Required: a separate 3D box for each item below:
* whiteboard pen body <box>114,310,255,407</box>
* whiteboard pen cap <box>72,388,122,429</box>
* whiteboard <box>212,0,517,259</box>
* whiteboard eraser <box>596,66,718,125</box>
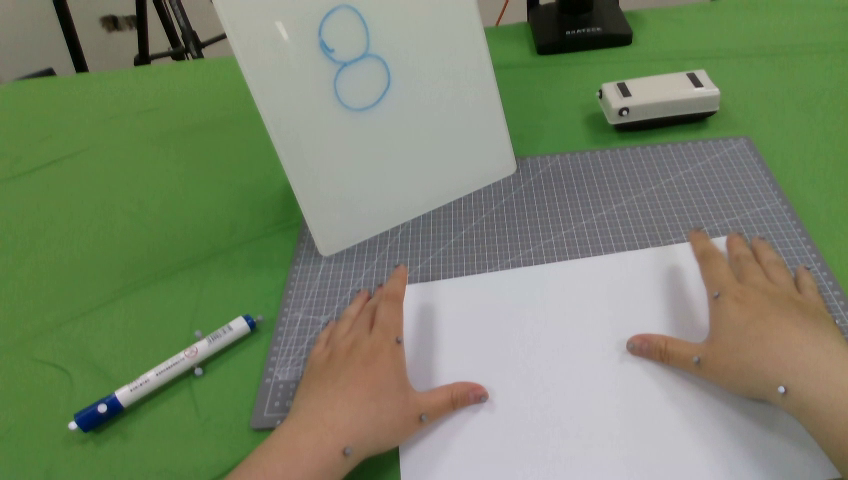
[{"bbox_3d":[-0.199,0.098,0.479,0.141,0.017,0.017,-33,49,-23],"label":"whiteboard pen body"},{"bbox_3d":[-0.244,0.126,0.456,0.033,0.018,0.018,-34,49,-23],"label":"whiteboard pen cap"},{"bbox_3d":[-0.068,-0.178,0.577,0.217,0.308,0.142,-25,26,-14],"label":"whiteboard"},{"bbox_3d":[0.244,-0.151,0.639,0.112,0.042,0.055,-6,47,3],"label":"whiteboard eraser"}]
